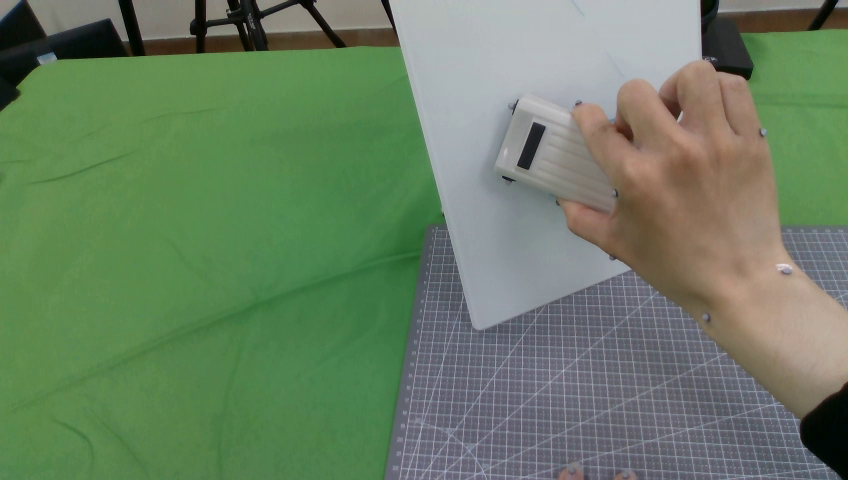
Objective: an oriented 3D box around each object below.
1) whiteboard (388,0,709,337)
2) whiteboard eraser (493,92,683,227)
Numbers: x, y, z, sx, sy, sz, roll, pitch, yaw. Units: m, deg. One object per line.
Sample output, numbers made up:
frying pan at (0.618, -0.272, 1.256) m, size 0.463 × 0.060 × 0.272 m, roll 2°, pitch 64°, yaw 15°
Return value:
whiteboard at (0.084, -0.118, 0.480) m, size 0.217 × 0.308 × 0.142 m, roll -20°, pitch 28°, yaw -9°
whiteboard eraser at (0.106, -0.054, 0.400) m, size 0.112 × 0.056 × 0.041 m, roll 21°, pitch 27°, yaw 7°
